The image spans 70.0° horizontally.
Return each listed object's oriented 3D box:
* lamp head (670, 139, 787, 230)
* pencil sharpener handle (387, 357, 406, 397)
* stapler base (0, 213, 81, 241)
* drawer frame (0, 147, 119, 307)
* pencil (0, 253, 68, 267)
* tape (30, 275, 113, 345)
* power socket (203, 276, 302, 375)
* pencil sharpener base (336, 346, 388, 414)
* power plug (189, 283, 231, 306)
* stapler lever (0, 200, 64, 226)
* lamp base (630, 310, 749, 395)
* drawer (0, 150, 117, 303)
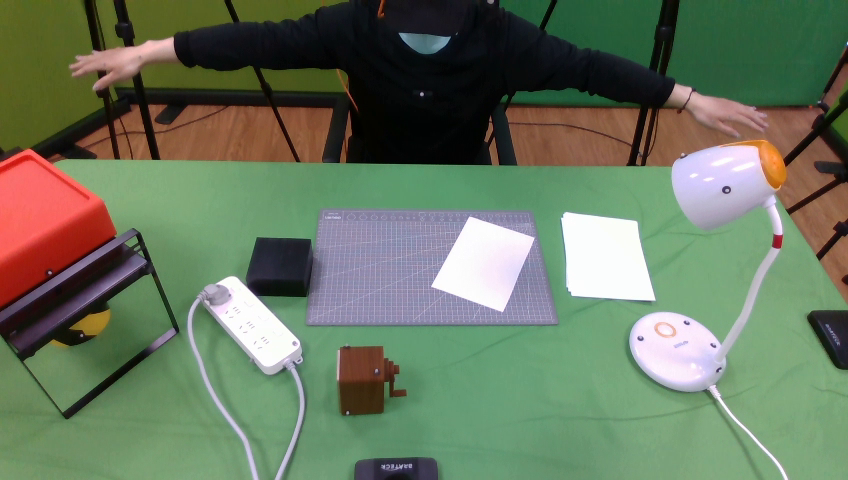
[{"bbox_3d":[0.415,-0.079,0.812,0.113,0.123,0.112,12,70,-37],"label":"lamp head"},{"bbox_3d":[-0.041,0.209,0.919,0.031,0.068,0.036,-1,25,-6],"label":"pencil sharpener handle"},{"bbox_3d":[-0.591,-0.024,0.921,0.130,0.024,0.041,5,41,11],"label":"stapler base"},{"bbox_3d":[-0.603,-0.020,0.882,0.201,0.083,0.213,29,52,21],"label":"drawer frame"},{"bbox_3d":[-0.608,0.023,0.875,0.194,0.012,0.012,9,46,2],"label":"pencil"},{"bbox_3d":[-0.594,0.117,1.021,0.117,0.053,0.116,2,45,-2],"label":"tape"},{"bbox_3d":[-0.297,0.141,1.034,0.072,0.033,0.225,-34,58,-30],"label":"power socket"},{"bbox_3d":[-0.094,0.215,0.927,0.077,0.107,0.061,-1,46,-6],"label":"pencil sharpener base"},{"bbox_3d":[-0.368,0.099,1.037,0.072,0.053,0.035,-24,52,-25],"label":"power plug"},{"bbox_3d":[-0.594,-0.042,0.904,0.118,0.040,0.026,5,41,10],"label":"stapler lever"},{"bbox_3d":[0.447,0.142,0.984,0.161,0.181,0.178,-24,55,-24],"label":"lamp base"},{"bbox_3d":[-0.604,-0.021,0.885,0.194,0.073,0.211,30,52,22],"label":"drawer"}]
